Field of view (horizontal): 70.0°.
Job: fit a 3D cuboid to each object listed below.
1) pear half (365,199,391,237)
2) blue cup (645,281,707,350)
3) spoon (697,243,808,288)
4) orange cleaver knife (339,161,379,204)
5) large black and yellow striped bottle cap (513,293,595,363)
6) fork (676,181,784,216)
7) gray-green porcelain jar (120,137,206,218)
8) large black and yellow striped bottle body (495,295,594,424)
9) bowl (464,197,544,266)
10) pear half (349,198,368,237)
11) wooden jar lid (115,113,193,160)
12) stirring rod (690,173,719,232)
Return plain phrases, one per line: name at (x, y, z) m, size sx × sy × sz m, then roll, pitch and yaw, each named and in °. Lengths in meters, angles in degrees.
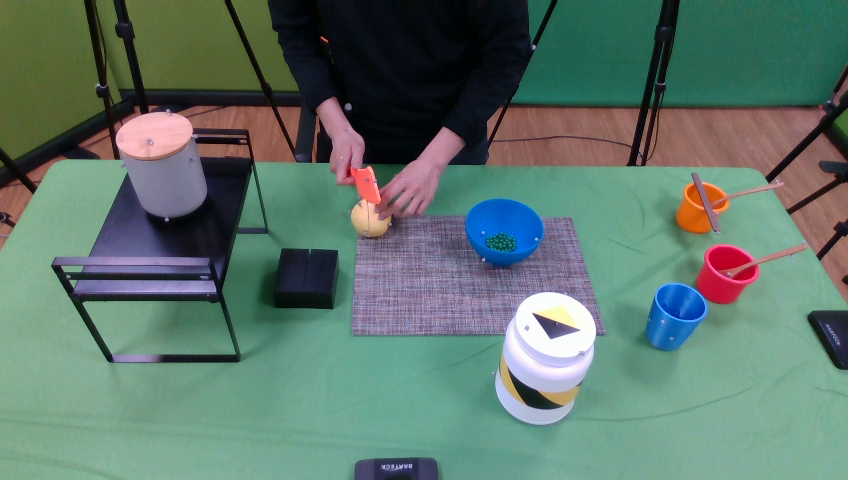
pear half at (-0.093, -0.058, 1.180) m, size 0.056 × 0.110 × 0.076 m, roll -13°, pitch 54°, yaw -12°
blue cup at (0.425, 0.136, 1.042) m, size 0.093 × 0.101 × 0.092 m, roll 1°, pitch 44°, yaw -1°
spoon at (0.601, 0.045, 1.115) m, size 0.194 × 0.022 × 0.041 m, roll -29°, pitch 35°, yaw 30°
orange cleaver knife at (-0.125, -0.113, 1.158) m, size 0.012 × 0.077 × 0.210 m, roll -18°, pitch 20°, yaw -19°
large black and yellow striped bottle cap at (0.185, 0.123, 0.863) m, size 0.115 × 0.019 × 0.114 m, roll 3°, pitch 45°, yaw -3°
fork at (0.618, -0.084, 1.235) m, size 0.019 × 0.207 × 0.028 m, roll 55°, pitch 40°, yaw -15°
gray-green porcelain jar at (-0.403, -0.106, 0.946) m, size 0.106 × 0.127 × 0.105 m, roll 3°, pitch 46°, yaw -3°
large black and yellow striped bottle body at (0.183, 0.182, 0.923) m, size 0.131 × 0.185 × 0.130 m, roll 2°, pitch 46°, yaw -2°
bowl at (0.149, -0.004, 1.167) m, size 0.151 × 0.077 × 0.150 m, roll 2°, pitch 46°, yaw -2°
pear half at (-0.129, -0.045, 1.178) m, size 0.031 × 0.088 × 0.070 m, roll -15°, pitch 53°, yaw -16°
wooden jar lid at (-0.399, -0.151, 0.900) m, size 0.108 × 0.021 × 0.107 m, roll 3°, pitch 46°, yaw -3°
stirring rod at (0.566, -0.080, 1.225) m, size 0.014 × 0.006 × 0.175 m, roll 2°, pitch 46°, yaw 2°
